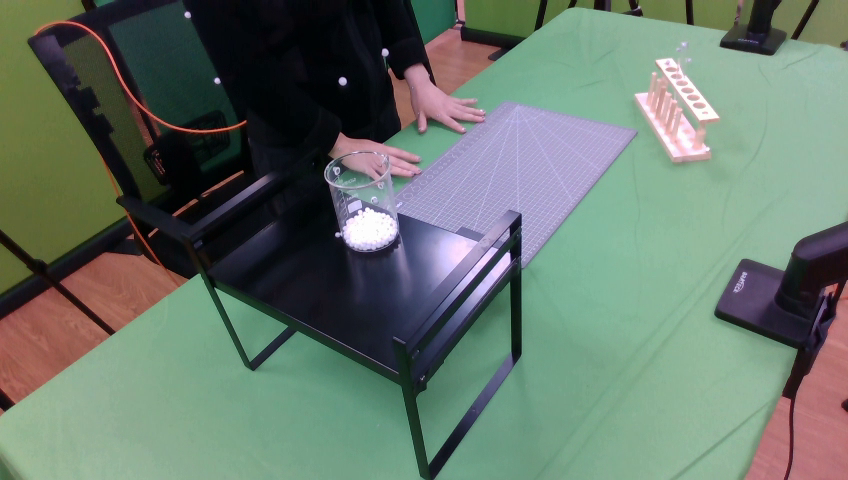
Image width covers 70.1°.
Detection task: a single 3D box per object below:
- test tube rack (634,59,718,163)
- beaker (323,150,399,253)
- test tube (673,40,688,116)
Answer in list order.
[{"bbox_3d":[0.470,-0.250,1.148,0.067,0.085,0.241,-6,40,3],"label":"test tube rack"},{"bbox_3d":[-0.067,-0.043,0.699,0.073,0.101,0.084,28,51,35],"label":"beaker"},{"bbox_3d":[0.477,-0.299,1.127,0.017,0.151,0.017,-7,40,7],"label":"test tube"}]
